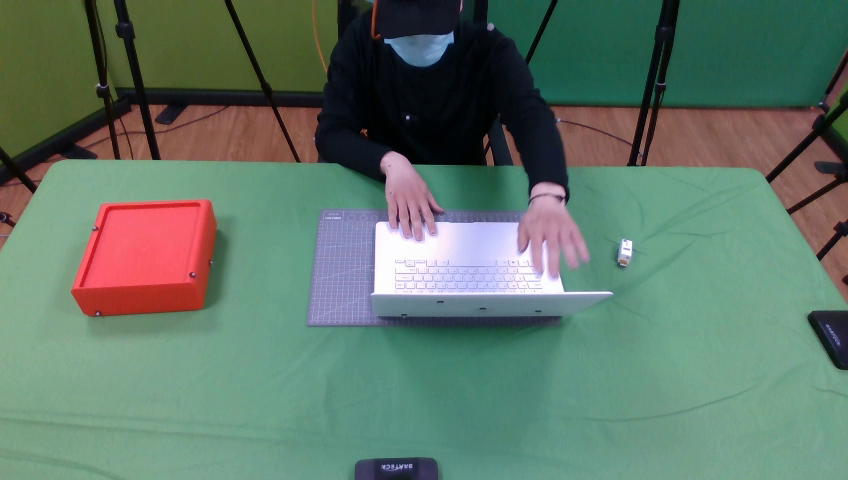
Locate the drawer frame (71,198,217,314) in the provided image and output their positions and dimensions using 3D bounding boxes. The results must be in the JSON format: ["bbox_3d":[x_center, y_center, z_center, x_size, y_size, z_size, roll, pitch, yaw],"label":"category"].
[{"bbox_3d":[-0.493,0.024,1.095,0.202,0.083,0.212,-3,47,-8],"label":"drawer frame"}]

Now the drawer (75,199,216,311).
[{"bbox_3d":[-0.494,0.023,1.097,0.195,0.073,0.210,-2,47,-8],"label":"drawer"}]

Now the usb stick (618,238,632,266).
[{"bbox_3d":[0.397,0.026,1.199,0.021,0.027,0.059,15,50,9],"label":"usb stick"}]

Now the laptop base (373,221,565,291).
[{"bbox_3d":[0.080,0.049,1.159,0.355,0.023,0.234,0,43,-4],"label":"laptop base"}]

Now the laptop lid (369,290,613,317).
[{"bbox_3d":[0.092,0.103,0.966,0.357,0.242,0.013,0,75,-5],"label":"laptop lid"}]
